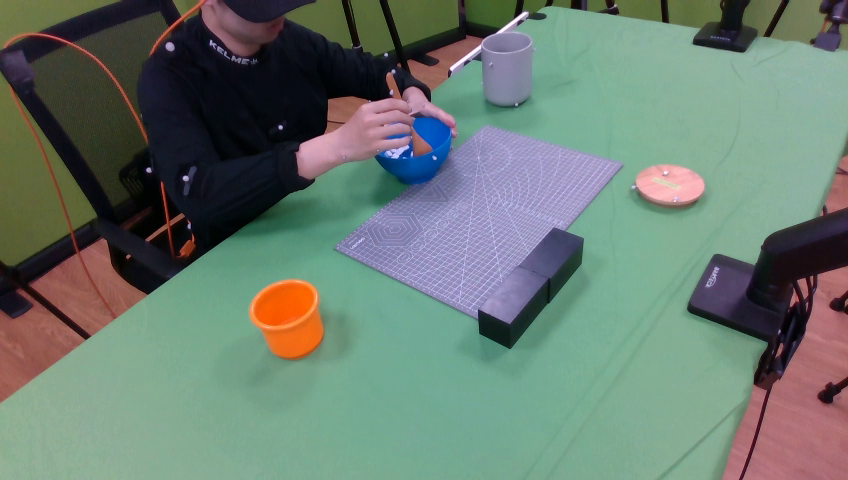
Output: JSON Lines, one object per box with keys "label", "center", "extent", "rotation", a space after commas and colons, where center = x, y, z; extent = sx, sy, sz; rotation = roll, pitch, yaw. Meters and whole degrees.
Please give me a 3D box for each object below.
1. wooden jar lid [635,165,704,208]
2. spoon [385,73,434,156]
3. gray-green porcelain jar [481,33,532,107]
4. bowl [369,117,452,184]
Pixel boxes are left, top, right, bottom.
{"label": "wooden jar lid", "center": [0.410, -0.089, 1.014], "extent": [0.108, 0.021, 0.108], "rotation": [-5, 42, 5]}
{"label": "spoon", "center": [-0.026, -0.195, 1.008], "extent": [0.041, 0.195, 0.021], "rotation": [-33, 39, -5]}
{"label": "gray-green porcelain jar", "center": [0.175, -0.355, 1.278], "extent": [0.106, 0.127, 0.105], "rotation": [-4, 41, 4]}
{"label": "bowl", "center": [-0.019, -0.155, 1.107], "extent": [0.151, 0.077, 0.150], "rotation": [-6, 38, 5]}
